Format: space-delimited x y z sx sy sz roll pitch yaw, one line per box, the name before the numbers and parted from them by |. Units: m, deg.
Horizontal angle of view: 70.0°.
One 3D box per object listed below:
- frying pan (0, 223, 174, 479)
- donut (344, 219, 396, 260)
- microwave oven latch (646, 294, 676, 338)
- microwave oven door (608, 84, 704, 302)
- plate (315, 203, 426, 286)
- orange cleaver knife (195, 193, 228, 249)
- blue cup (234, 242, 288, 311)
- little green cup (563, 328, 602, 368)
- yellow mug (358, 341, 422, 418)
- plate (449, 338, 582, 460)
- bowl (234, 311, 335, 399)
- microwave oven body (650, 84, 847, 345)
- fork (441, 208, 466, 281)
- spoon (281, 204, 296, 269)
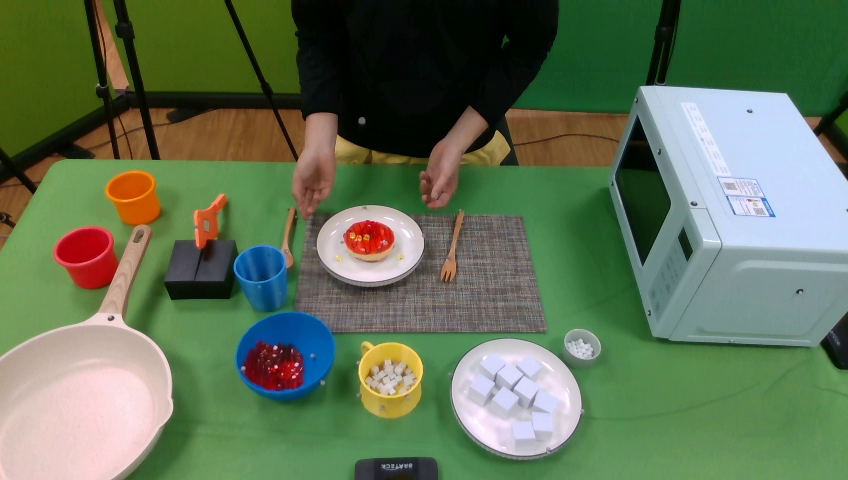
frying pan | -0.505 0.169 0.941 0.307 0.103 0.485 5 54 -1
donut | -0.102 -0.003 1.157 0.099 0.048 0.098 3 43 -2
microwave oven latch | 0.412 0.133 1.060 0.030 0.029 0.078 3 46 0
microwave oven door | 0.424 -0.096 1.138 0.039 0.245 0.353 3 46 -1
plate | -0.101 0.012 1.159 0.209 0.038 0.208 2 46 -2
orange cleaver knife | -0.406 -0.041 1.163 0.012 0.077 0.210 0 18 -3
blue cup | -0.276 0.072 1.052 0.093 0.101 0.092 1 48 -1
little green cup | 0.265 0.184 1.025 0.061 0.039 0.061 1 46 -1
yellow mug | -0.063 0.210 0.960 0.100 0.064 0.130 -29 54 -28
plate | 0.141 0.251 0.955 0.208 0.039 0.206 2 46 -2
bowl | -0.214 0.194 0.956 0.151 0.077 0.150 2 46 -2
microwave oven body | 0.569 -0.054 1.116 0.326 0.261 0.439 2 46 -1
fork | 0.061 0.005 1.190 0.028 0.019 0.206 4 47 12
spoon | -0.266 -0.008 1.181 0.041 0.022 0.192 -16 46 13
